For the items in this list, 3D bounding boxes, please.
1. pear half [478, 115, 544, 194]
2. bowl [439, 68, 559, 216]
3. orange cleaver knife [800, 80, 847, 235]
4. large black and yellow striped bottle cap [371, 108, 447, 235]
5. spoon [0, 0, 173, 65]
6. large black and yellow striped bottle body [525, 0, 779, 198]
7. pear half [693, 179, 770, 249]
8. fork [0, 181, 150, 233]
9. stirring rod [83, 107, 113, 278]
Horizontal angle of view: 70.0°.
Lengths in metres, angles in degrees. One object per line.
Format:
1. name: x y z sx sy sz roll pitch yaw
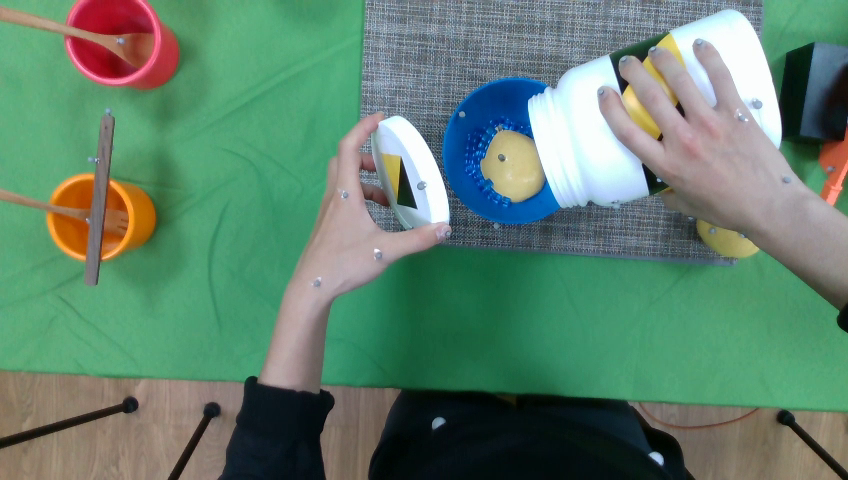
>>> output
1. pear half: 0.094 -0.095 0.651 0.070 0.031 0.088 -22 92 -3
2. bowl: 0.090 -0.102 0.656 0.151 0.076 0.151 0 95 -1
3. orange cleaver knife: 0.456 -0.106 0.667 0.012 0.076 0.213 6 124 4
4. large black and yellow striped bottle cap: -0.015 -0.059 0.539 0.019 0.114 0.115 -23 95 -19
5. spoon: -0.352 -0.216 0.605 0.195 0.021 0.041 5 99 -45
6. large black and yellow striped bottle body: 0.194 -0.114 0.535 0.183 0.131 0.131 -17 95 20
7. pear half: 0.330 -0.026 0.654 0.056 0.110 0.076 -16 91 1
8. fork: -0.385 -0.043 0.617 0.209 0.018 0.028 19 106 -47
9. stirring rod: -0.332 -0.047 0.616 0.014 0.006 0.176 8 96 -5
